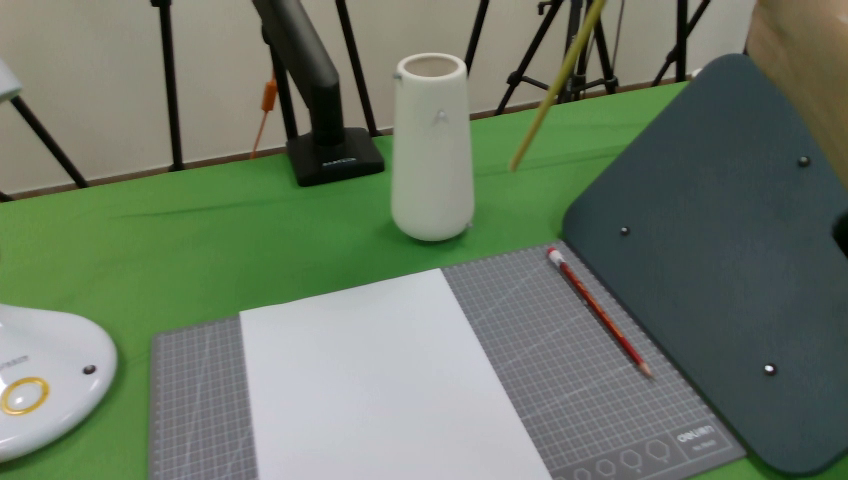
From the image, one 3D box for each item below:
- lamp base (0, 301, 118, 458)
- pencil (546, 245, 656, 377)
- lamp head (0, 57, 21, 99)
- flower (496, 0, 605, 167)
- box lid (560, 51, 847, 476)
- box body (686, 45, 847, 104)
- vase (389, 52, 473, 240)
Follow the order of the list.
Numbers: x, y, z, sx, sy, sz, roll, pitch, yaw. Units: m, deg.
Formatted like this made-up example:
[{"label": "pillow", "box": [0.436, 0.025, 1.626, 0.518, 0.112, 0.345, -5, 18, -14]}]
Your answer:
[{"label": "lamp base", "box": [-0.366, 0.057, 0.489, 0.177, 0.182, 0.160, 25, 45, 32]}, {"label": "pencil", "box": [0.171, 0.064, 0.604, 0.012, 0.012, 0.191, -13, 41, -15]}, {"label": "lamp head", "box": [-0.290, -0.100, 0.295, 0.112, 0.124, 0.111, -27, 21, 12]}, {"label": "flower", "box": [0.121, -0.173, 0.317, 0.044, 0.363, 0.038, 7, 46, -24]}, {"label": "box lid", "box": [0.299, -0.008, 0.549, 0.015, 0.263, 0.367, 29, 20, -38]}, {"label": "box body", "box": [0.465, -0.053, 0.629, 0.255, 0.162, 0.359, -13, 40, -14]}, {"label": "vase", "box": [0.005, -0.098, 0.667, 0.098, 0.202, 0.097, -2, 37, 2]}]
